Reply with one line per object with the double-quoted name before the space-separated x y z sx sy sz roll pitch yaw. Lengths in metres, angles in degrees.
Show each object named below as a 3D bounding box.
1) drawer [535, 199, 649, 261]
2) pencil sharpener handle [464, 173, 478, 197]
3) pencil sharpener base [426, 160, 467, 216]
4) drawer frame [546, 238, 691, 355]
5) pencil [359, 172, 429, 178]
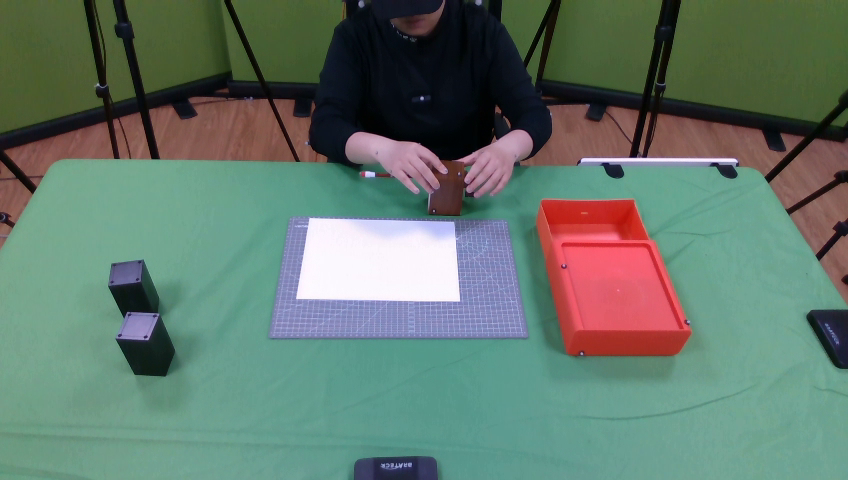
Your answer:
"drawer" 0.332 0.015 1.169 0.195 0.073 0.210 0 46 -5
"pencil sharpener handle" 0.098 -0.112 1.239 0.030 0.068 0.036 3 52 -2
"pencil sharpener base" 0.046 -0.105 1.245 0.077 0.107 0.061 3 46 -2
"drawer frame" 0.338 0.097 1.086 0.202 0.083 0.212 0 46 -4
"pencil" -0.034 -0.130 1.224 0.194 0.012 0.012 1 45 -2
